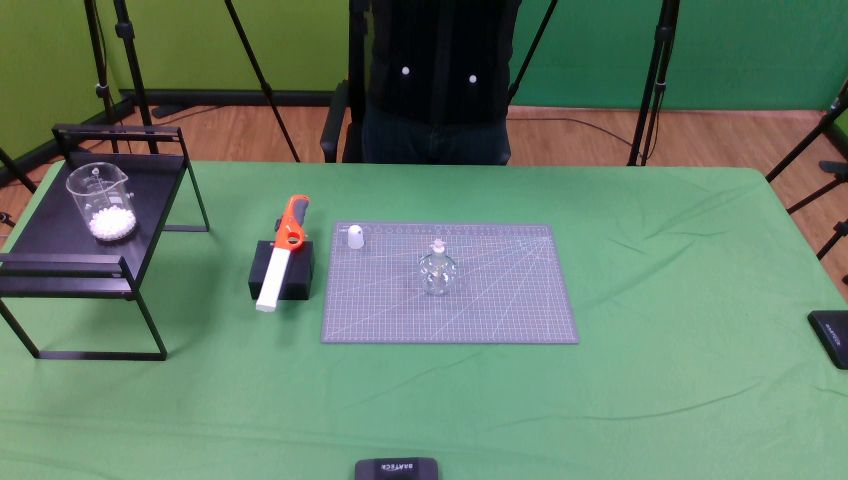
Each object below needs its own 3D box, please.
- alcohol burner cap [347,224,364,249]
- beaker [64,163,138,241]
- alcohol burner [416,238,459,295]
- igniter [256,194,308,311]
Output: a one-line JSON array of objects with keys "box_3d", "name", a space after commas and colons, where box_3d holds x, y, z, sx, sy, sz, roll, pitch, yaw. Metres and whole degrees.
[{"box_3d": [-0.134, -0.011, 1.177, 0.034, 0.048, 0.033, 2, 47, -2], "name": "alcohol burner cap"}, {"box_3d": [-0.477, -0.055, 0.910, 0.084, 0.101, 0.073, -9, 48, -13], "name": "beaker"}, {"box_3d": [0.024, 0.042, 1.088, 0.078, 0.120, 0.077, 1, 46, 0], "name": "alcohol burner"}, {"box_3d": [-0.254, 0.012, 1.096, 0.057, 0.025, 0.275, 13, 46, -8], "name": "igniter"}]
